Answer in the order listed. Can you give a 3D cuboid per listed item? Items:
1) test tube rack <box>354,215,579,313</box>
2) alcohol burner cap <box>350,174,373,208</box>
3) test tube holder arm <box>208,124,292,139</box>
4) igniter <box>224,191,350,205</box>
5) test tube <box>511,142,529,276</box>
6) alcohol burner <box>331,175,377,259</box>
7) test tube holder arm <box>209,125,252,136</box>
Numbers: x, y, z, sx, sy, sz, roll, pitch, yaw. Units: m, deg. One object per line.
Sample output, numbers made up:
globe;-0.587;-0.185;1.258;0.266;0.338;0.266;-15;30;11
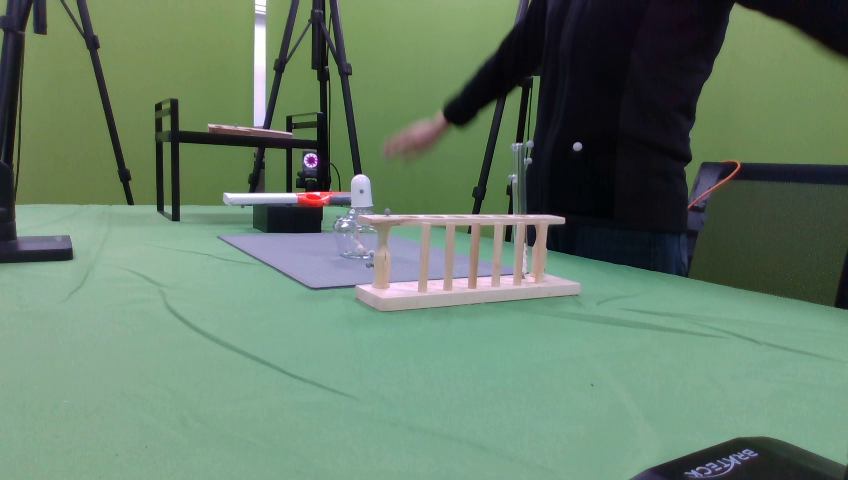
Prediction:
test tube rack;0.053;0.019;0.635;0.243;0.085;0.066;-1;8;-29
alcohol burner cap;-0.090;-0.068;0.850;0.034;0.048;0.034;-4;9;1
test tube holder arm;-0.381;-0.238;1.333;0.179;0.015;0.013;1;39;-28
igniter;-0.237;-0.079;1.157;0.278;0.025;0.057;-2;21;-32
test tube;0.108;-0.034;0.678;0.017;0.150;0.017;-3;7;1
alcohol burner;-0.091;-0.033;0.855;0.078;0.119;0.078;4;7;0
test tube holder arm;-0.419;-0.236;1.308;0.088;0.015;0.010;1;39;-28
